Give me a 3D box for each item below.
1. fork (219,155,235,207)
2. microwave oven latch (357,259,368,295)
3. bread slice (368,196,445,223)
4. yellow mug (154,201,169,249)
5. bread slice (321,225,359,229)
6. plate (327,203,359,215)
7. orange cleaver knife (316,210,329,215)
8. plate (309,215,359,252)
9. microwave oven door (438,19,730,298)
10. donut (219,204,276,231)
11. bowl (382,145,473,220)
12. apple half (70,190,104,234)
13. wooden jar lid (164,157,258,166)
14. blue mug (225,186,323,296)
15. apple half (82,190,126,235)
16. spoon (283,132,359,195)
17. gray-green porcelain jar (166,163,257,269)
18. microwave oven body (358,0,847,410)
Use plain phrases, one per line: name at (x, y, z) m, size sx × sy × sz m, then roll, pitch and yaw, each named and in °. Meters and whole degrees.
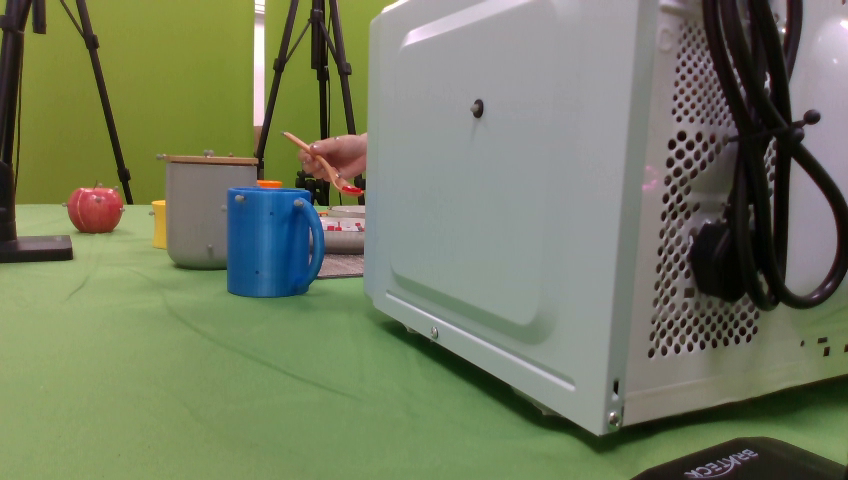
fork at (-0.459, -0.134, 1.415) m, size 0.028 × 0.018 × 0.207 m, roll -1°, pitch -34°, yaw -25°
microwave oven latch at (-0.019, 0.031, 0.529) m, size 0.079 × 0.029 × 0.030 m, roll -1°, pitch 7°, yaw -26°
bread slice at (-0.040, -0.057, 1.142) m, size 0.107 × 0.018 × 0.133 m, roll -8°, pitch -8°, yaw -39°
yellow mug at (-0.337, -0.022, 0.899) m, size 0.130 × 0.064 × 0.100 m, roll 7°, pitch 9°, yaw 34°
bread slice at (-0.124, -0.009, 0.937) m, size 0.131 × 0.019 × 0.105 m, roll 5°, pitch 8°, yaw 32°
plate at (-0.102, -0.053, 1.299) m, size 0.209 × 0.038 × 0.209 m, roll 2°, pitch 8°, yaw 0°
orange cleaver knife at (-0.259, -0.064, 1.423) m, size 0.212 × 0.012 × 0.077 m, roll -4°, pitch 3°, yaw -30°
plate at (-0.130, -0.011, 0.945) m, size 0.208 × 0.039 × 0.207 m, roll 2°, pitch 8°, yaw 0°
microwave oven door at (0.181, -0.076, 0.618) m, size 0.358 × 0.243 × 0.039 m, roll -2°, pitch 8°, yaw -28°
donut at (-0.316, -0.039, 1.083) m, size 0.099 × 0.048 × 0.099 m, roll 2°, pitch 6°, yaw 0°
bowl at (0.019, -0.082, 0.951) m, size 0.151 × 0.077 × 0.151 m, roll -25°, pitch 1°, yaw 1°
apple half at (-0.552, -0.047, 1.010) m, size 0.053 × 0.074 × 0.081 m, roll -1°, pitch 9°, yaw 26°
wooden jar lid at (-0.261, -0.093, 0.746) m, size 0.108 × 0.020 × 0.108 m, roll 0°, pitch 9°, yaw 0°
blue mug at (-0.148, 0.000, 0.618) m, size 0.116 × 0.106 × 0.083 m, roll 7°, pitch 9°, yaw 33°
apple half at (-0.516, -0.046, 0.994) m, size 0.032 × 0.081 × 0.081 m, roll 0°, pitch 6°, yaw 26°
spoon at (-0.165, -0.126, 0.976) m, size 0.193 × 0.021 × 0.042 m, roll 43°, pitch 31°, yaw 24°
gray-green porcelain jar at (-0.263, -0.031, 0.754) m, size 0.106 × 0.126 × 0.106 m, roll 2°, pitch 7°, yaw 0°
microwave oven body at (0.210, -0.051, 0.471) m, size 0.444 × 0.260 × 0.324 m, roll -1°, pitch 7°, yaw -28°
